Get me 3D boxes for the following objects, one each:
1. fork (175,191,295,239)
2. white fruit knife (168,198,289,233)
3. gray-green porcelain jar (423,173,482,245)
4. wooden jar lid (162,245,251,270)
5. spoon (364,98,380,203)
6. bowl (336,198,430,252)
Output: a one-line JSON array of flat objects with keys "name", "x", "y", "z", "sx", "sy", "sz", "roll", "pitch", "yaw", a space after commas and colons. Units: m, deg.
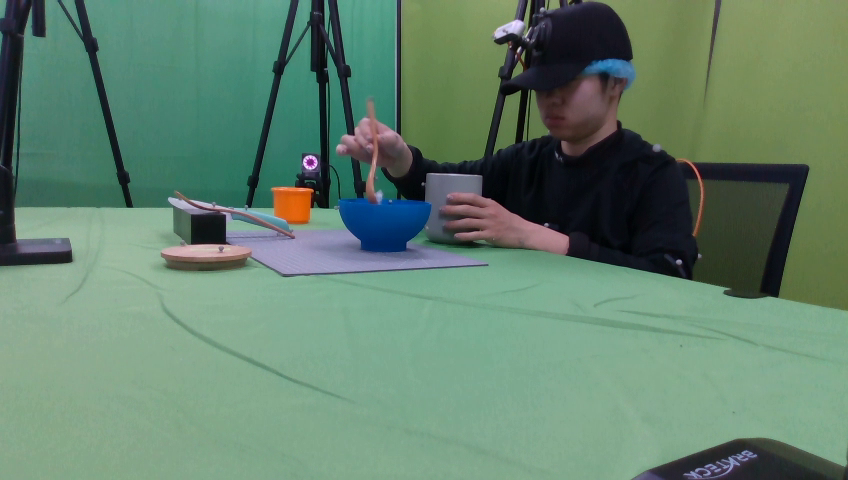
[{"name": "fork", "x": -0.305, "y": -0.039, "z": 0.993, "sx": 0.208, "sy": 0.018, "sz": 0.028, "roll": 19, "pitch": -7, "yaw": -34}, {"name": "white fruit knife", "x": -0.329, "y": -0.044, "z": 1.036, "sx": 0.208, "sy": 0.027, "sz": 0.016, "roll": 14, "pitch": -1, "yaw": -32}, {"name": "gray-green porcelain jar", "x": 0.051, "y": -0.058, "z": 1.115, "sx": 0.106, "sy": 0.126, "sz": 0.106, "roll": 2, "pitch": 8, "yaw": 0}, {"name": "wooden jar lid", "x": -0.278, "y": 0.022, "z": 0.777, "sx": 0.108, "sy": 0.020, "sz": 0.108, "roll": 2, "pitch": 6, "yaw": 0}, {"name": "spoon", "x": -0.082, "y": -0.141, "z": 0.991, "sx": 0.022, "sy": 0.193, "sz": 0.041, "roll": 6, "pitch": -12, "yaw": -8}, {"name": "bowl", "x": -0.066, "y": -0.024, "z": 0.967, "sx": 0.151, "sy": 0.077, "sz": 0.151, "roll": 3, "pitch": 7, "yaw": 0}]
